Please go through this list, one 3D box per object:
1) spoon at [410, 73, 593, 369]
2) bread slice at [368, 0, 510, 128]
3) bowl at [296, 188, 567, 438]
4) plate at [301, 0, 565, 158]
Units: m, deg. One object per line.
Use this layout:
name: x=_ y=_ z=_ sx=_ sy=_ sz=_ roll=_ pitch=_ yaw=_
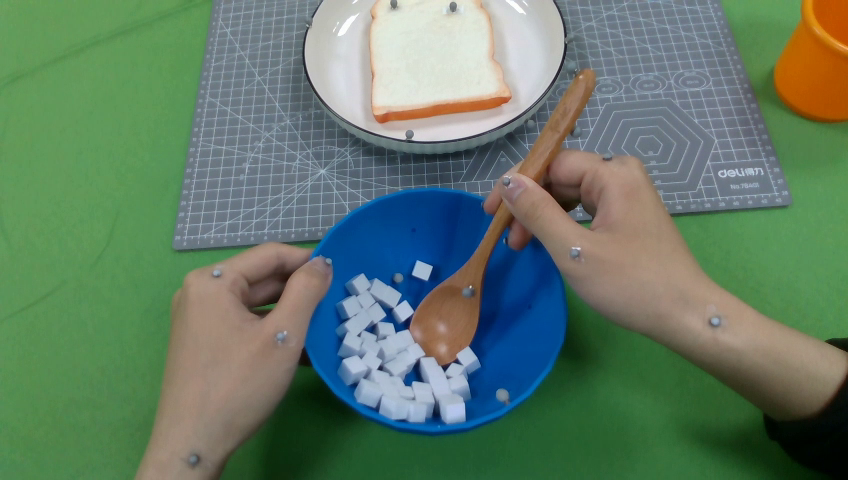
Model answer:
spoon: x=0.043 y=-0.003 z=0.343 sx=0.041 sy=0.194 sz=0.022 roll=38 pitch=28 yaw=22
bread slice: x=0.003 y=-0.152 z=0.499 sx=0.107 sy=0.018 sz=0.133 roll=-11 pitch=64 yaw=0
bowl: x=0.004 y=0.052 z=0.367 sx=0.151 sy=0.077 sz=0.150 roll=1 pitch=58 yaw=-1
plate: x=0.006 y=-0.149 z=0.494 sx=0.209 sy=0.038 sz=0.207 roll=-2 pitch=63 yaw=4
